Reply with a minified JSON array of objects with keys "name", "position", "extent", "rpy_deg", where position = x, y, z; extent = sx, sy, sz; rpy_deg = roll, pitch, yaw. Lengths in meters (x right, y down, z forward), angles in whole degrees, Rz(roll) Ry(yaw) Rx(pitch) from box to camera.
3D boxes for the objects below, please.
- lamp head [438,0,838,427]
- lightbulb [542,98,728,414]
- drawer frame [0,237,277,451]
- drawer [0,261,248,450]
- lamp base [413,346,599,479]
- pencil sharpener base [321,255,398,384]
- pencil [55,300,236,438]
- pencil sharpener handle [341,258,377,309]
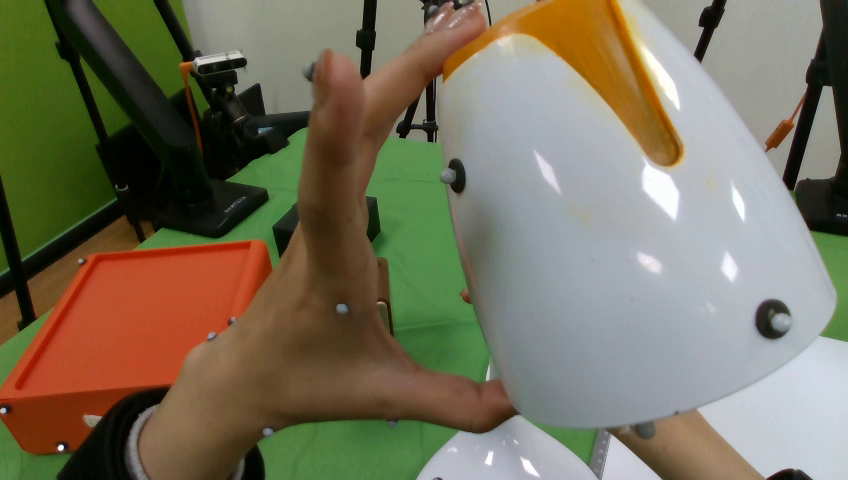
[{"name":"lamp head","position":[0.056,-0.018,0.207],"extent":[0.112,0.123,0.112],"rpy_deg":[-27,2,1]},{"name":"lightbulb","position":[0.064,0.006,0.203],"extent":[0.059,0.108,0.059],"rpy_deg":[-17,8,3]},{"name":"drawer frame","position":[-0.265,0.094,0.606],"extent":[0.202,0.083,0.211],"rpy_deg":[-6,34,-2]},{"name":"drawer","position":[-0.263,0.097,0.605],"extent":[0.194,0.074,0.209],"rpy_deg":[-5,33,-2]},{"name":"lamp base","position":[0.055,0.140,0.423],"extent":[0.161,0.182,0.177],"rpy_deg":[-7,32,-3]},{"name":"pencil sharpener base","position":[-0.060,0.077,0.591],"extent":[0.061,0.108,0.076],"rpy_deg":[-5,35,-2]},{"name":"pencil","position":[-0.260,0.118,0.581],"extent":[0.012,0.012,0.194],"rpy_deg":[28,57,38]},{"name":"pencil sharpener handle","position":[-0.066,0.039,0.626],"extent":[0.036,0.068,0.030],"rpy_deg":[-1,34,-5]}]
